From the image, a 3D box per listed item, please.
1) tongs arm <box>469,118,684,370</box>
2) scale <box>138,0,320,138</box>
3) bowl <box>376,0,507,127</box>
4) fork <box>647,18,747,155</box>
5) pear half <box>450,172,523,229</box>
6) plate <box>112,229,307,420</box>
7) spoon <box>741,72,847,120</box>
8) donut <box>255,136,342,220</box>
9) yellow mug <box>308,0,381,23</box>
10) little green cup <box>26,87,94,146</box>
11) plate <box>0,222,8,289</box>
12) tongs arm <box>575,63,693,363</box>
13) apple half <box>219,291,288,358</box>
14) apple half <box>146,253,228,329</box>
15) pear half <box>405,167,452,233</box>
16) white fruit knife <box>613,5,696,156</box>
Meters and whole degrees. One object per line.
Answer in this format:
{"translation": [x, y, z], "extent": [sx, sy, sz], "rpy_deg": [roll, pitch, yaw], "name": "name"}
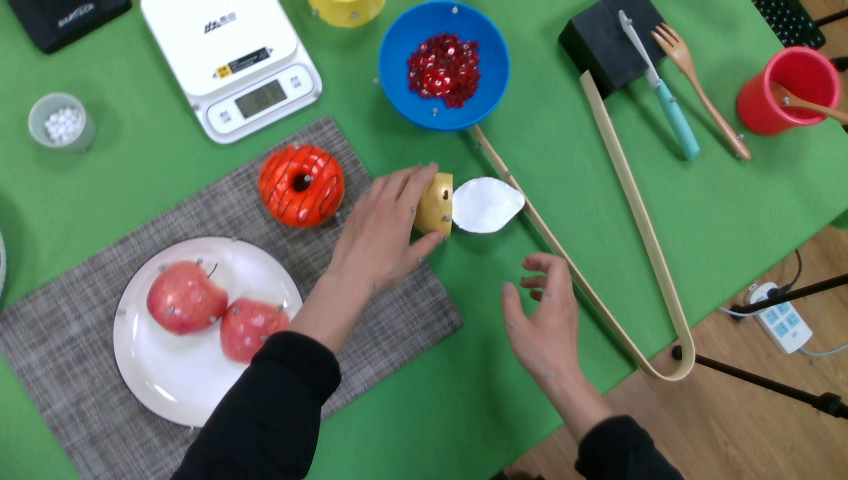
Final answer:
{"translation": [0.182, 0.003, 0.732], "extent": [0.051, 0.026, 0.384], "rpy_deg": [-34, 89, -13], "name": "tongs arm"}
{"translation": [-0.230, -0.236, 0.720], "extent": [0.149, 0.031, 0.200], "rpy_deg": [-29, 88, -7], "name": "scale"}
{"translation": [0.017, -0.199, 0.716], "extent": [0.151, 0.077, 0.151], "rpy_deg": [1, 84, -5], "name": "bowl"}
{"translation": [0.342, -0.187, 0.751], "extent": [0.028, 0.018, 0.208], "rpy_deg": [-43, 104, -10], "name": "fork"}
{"translation": [0.075, -0.046, 0.726], "extent": [0.088, 0.031, 0.070], "rpy_deg": [-6, 81, 7], "name": "pear half"}
{"translation": [-0.234, 0.092, 0.678], "extent": [0.209, 0.038, 0.208], "rpy_deg": [1, 84, -5], "name": "plate"}
{"translation": [0.467, -0.159, 0.719], "extent": [0.041, 0.022, 0.191], "rpy_deg": [-39, 44, -8], "name": "spoon"}
{"translation": [-0.145, -0.071, 0.700], "extent": [0.099, 0.048, 0.099], "rpy_deg": [0, 86, -3], "name": "donut"}
{"translation": [-0.112, -0.328, 0.723], "extent": [0.131, 0.064, 0.099], "rpy_deg": [24, 83, -1], "name": "yellow mug"}
{"translation": [-0.411, -0.137, 0.690], "extent": [0.061, 0.038, 0.061], "rpy_deg": [1, 84, -4], "name": "little green cup"}
{"translation": [-0.560, 0.023, 0.660], "extent": [0.208, 0.039, 0.207], "rpy_deg": [1, 84, -5], "name": "plate"}
{"translation": [0.257, -0.037, 0.748], "extent": [0.028, 0.028, 0.386], "rpy_deg": [-18, 86, -16], "name": "tongs arm"}
{"translation": [-0.194, 0.096, 0.677], "extent": [0.081, 0.033, 0.081], "rpy_deg": [1, 83, -4], "name": "apple half"}
{"translation": [-0.263, 0.056, 0.662], "extent": [0.074, 0.053, 0.081], "rpy_deg": [-39, 92, -6], "name": "apple half"}
{"translation": [0.007, -0.049, 0.683], "extent": [0.056, 0.110, 0.076], "rpy_deg": [-3, 79, -4], "name": "pear half"}
{"translation": [0.281, -0.193, 0.738], "extent": [0.016, 0.027, 0.208], "rpy_deg": [-35, 102, -8], "name": "white fruit knife"}
